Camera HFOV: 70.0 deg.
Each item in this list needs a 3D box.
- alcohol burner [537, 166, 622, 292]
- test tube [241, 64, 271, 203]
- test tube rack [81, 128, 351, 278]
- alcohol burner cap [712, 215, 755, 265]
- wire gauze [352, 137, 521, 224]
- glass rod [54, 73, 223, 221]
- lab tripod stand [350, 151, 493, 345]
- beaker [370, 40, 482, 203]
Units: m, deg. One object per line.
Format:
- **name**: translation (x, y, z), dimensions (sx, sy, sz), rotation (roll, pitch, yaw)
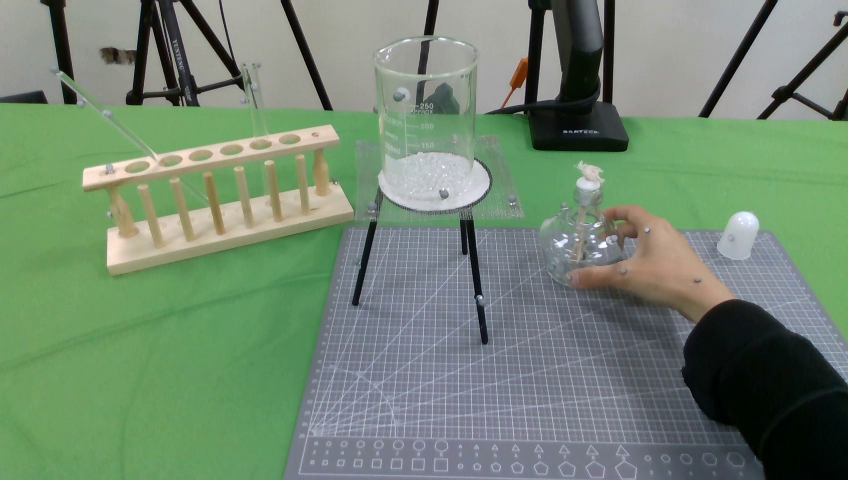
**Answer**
- **alcohol burner**: translation (0.143, -0.012, 0.552), dimensions (0.078, 0.120, 0.077), rotation (-1, 36, 1)
- **test tube**: translation (-0.167, -0.103, 0.614), dimensions (0.017, 0.151, 0.017), rotation (1, 35, 0)
- **test tube rack**: translation (-0.202, -0.042, 0.617), dimensions (0.243, 0.086, 0.066), rotation (-14, 40, -17)
- **alcohol burner cap**: translation (0.307, -0.003, 0.598), dimensions (0.034, 0.048, 0.033), rotation (0, 38, 0)
- **wire gauze**: translation (0.005, -0.047, 0.473), dimensions (0.125, 0.011, 0.120), rotation (-5, 36, -1)
- **glass rod**: translation (-0.262, -0.079, 0.574), dimensions (0.008, 0.202, 0.008), rotation (-20, 44, 21)
- **lab tripod stand**: translation (0.005, 0.004, 0.514), dimensions (0.148, 0.132, 0.147), rotation (-1, 40, 1)
- **beaker**: translation (-0.001, -0.085, 0.442), dimensions (0.083, 0.101, 0.074), rotation (21, 42, 26)
